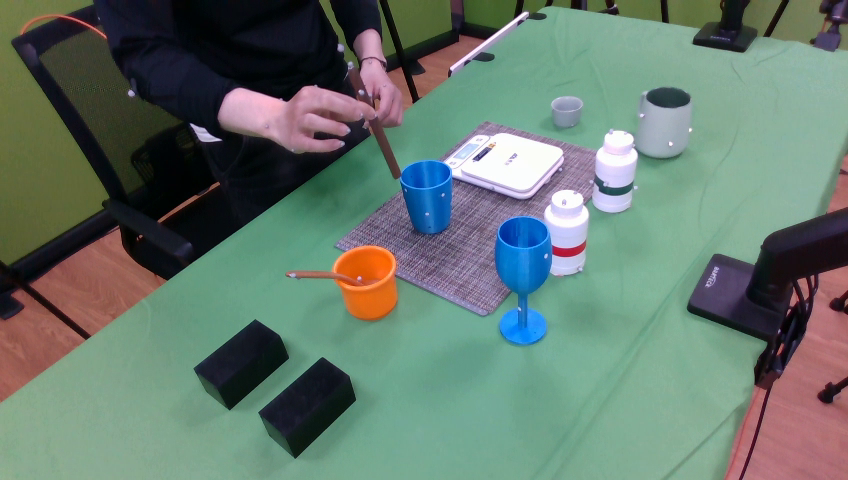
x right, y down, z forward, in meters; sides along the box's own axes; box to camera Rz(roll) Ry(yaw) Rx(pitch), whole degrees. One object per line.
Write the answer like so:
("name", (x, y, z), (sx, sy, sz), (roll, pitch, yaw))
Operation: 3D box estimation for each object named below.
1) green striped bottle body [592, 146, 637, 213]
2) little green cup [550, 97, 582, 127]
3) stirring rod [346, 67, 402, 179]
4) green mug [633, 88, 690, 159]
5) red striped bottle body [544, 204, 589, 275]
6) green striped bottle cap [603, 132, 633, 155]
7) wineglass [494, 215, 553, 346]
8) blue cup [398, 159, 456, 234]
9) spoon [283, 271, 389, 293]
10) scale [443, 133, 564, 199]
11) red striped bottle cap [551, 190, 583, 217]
("green striped bottle body", (0.307, -0.108, 0.976), (0.063, 0.120, 0.063), (-4, 41, 4))
("little green cup", (0.284, -0.255, 1.213), (0.061, 0.039, 0.061), (-4, 41, 4))
("stirring rod", (-0.064, -0.152, 0.807), (0.014, 0.177, 0.005), (-40, 43, -18))
("green mug", (0.423, -0.217, 1.099), (0.093, 0.105, 0.124), (-16, 41, -10))
("red striped bottle body", (0.206, -0.011, 0.878), (0.063, 0.120, 0.062), (-5, 41, 4))
("green striped bottle cap", (0.302, -0.149, 0.939), (0.044, 0.020, 0.044), (-3, 40, 3))
("wineglass", (0.127, 0.055, 0.770), (0.074, 0.173, 0.073), (-4, 40, 4))
("blue cup", (0.006, -0.065, 0.977), (0.092, 0.100, 0.092), (-4, 39, 3))
("spoon", (-0.116, 0.054, 0.824), (0.041, 0.195, 0.021), (22, 92, 37))
("scale", (0.137, -0.142, 1.101), (0.199, 0.032, 0.149), (22, 48, 30))
("red striped bottle cap", (0.200, -0.052, 0.843), (0.044, 0.018, 0.044), (-2, 42, 3))
